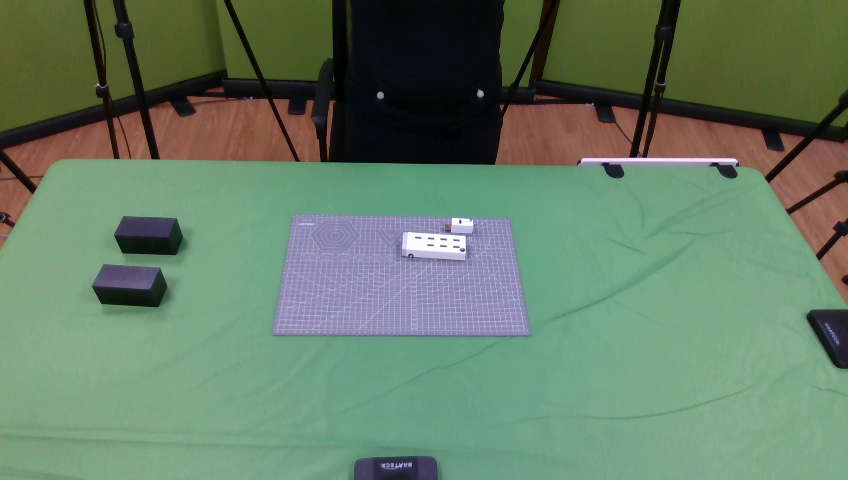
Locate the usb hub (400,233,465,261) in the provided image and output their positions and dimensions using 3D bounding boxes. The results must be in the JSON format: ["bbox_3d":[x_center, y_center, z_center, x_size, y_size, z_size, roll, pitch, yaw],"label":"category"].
[{"bbox_3d":[0.018,0.013,1.180,0.125,0.025,0.049,4,46,0],"label":"usb hub"}]

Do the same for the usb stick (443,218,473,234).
[{"bbox_3d":[0.068,-0.028,1.222,0.059,0.027,0.021,1,45,0],"label":"usb stick"}]
